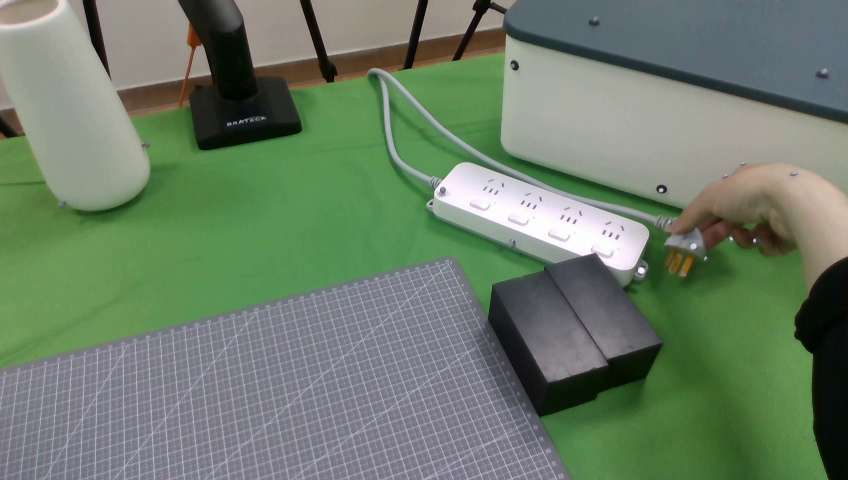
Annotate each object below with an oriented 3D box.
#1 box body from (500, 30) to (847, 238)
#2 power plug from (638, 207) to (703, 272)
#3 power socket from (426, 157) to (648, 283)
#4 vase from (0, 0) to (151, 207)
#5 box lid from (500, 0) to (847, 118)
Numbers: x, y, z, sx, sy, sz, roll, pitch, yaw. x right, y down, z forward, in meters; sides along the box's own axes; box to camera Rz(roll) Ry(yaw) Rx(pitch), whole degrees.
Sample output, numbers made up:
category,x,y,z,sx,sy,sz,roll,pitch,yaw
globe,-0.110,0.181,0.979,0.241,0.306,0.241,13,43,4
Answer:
category,x,y,z,sx,sy,sz,roll,pitch,yaw
box body,0.286,-0.176,0.659,0.362,0.162,0.253,20,49,18
power plug,0.227,0.001,0.567,0.052,0.035,0.072,-58,28,-7
power socket,0.111,-0.024,0.601,0.225,0.033,0.072,23,49,20
vase,-0.336,-0.128,0.578,0.098,0.202,0.097,1,45,-1
box lid,0.288,-0.226,0.605,0.369,0.015,0.262,20,50,18
